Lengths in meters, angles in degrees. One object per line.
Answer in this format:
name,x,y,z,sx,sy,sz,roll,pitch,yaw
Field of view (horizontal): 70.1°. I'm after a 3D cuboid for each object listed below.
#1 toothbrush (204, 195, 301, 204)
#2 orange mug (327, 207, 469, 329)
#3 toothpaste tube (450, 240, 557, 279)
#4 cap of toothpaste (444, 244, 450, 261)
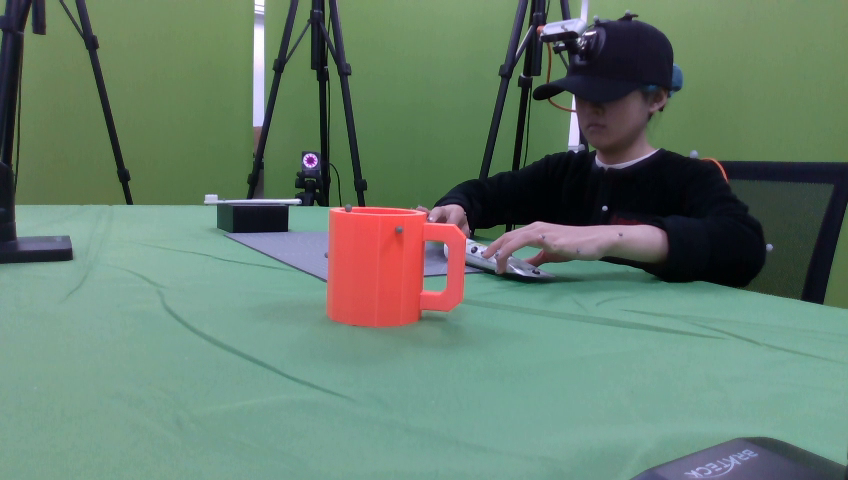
toothbrush,-0.314,-0.074,1.120,0.183,0.016,0.014,-2,4,-36
orange mug,-0.024,0.021,0.535,0.126,0.100,0.083,-1,6,8
toothpaste tube,0.093,0.028,0.791,0.055,0.034,0.164,-3,13,-40
cap of toothpaste,0.041,0.012,0.853,0.011,0.037,0.037,5,7,34
